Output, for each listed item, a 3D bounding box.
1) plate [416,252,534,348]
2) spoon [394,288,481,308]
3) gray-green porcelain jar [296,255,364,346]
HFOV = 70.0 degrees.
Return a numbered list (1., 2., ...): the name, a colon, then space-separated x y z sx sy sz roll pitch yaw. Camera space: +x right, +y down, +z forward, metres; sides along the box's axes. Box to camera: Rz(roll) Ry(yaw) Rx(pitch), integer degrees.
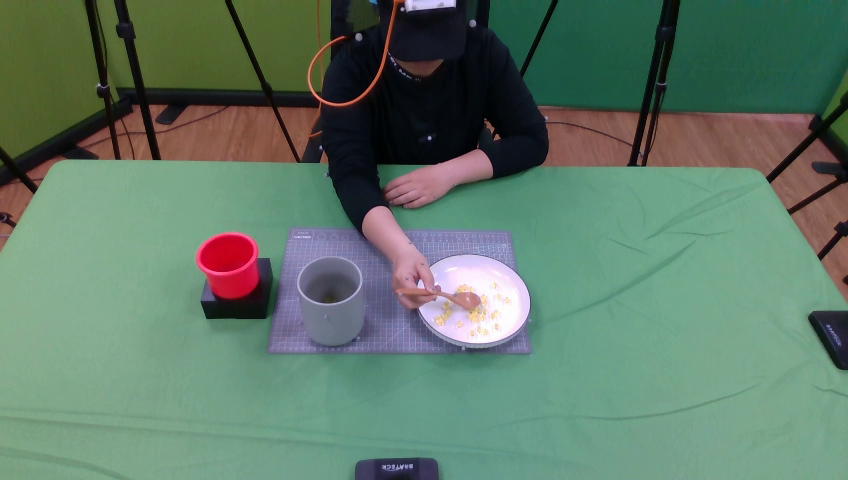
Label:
1. plate: 0.090 0.109 1.084 0.208 0.039 0.206 2 46 -2
2. spoon: 0.026 0.092 1.026 0.195 0.021 0.041 14 30 -43
3. gray-green porcelain jar: -0.153 0.106 1.008 0.106 0.127 0.105 2 46 -2
